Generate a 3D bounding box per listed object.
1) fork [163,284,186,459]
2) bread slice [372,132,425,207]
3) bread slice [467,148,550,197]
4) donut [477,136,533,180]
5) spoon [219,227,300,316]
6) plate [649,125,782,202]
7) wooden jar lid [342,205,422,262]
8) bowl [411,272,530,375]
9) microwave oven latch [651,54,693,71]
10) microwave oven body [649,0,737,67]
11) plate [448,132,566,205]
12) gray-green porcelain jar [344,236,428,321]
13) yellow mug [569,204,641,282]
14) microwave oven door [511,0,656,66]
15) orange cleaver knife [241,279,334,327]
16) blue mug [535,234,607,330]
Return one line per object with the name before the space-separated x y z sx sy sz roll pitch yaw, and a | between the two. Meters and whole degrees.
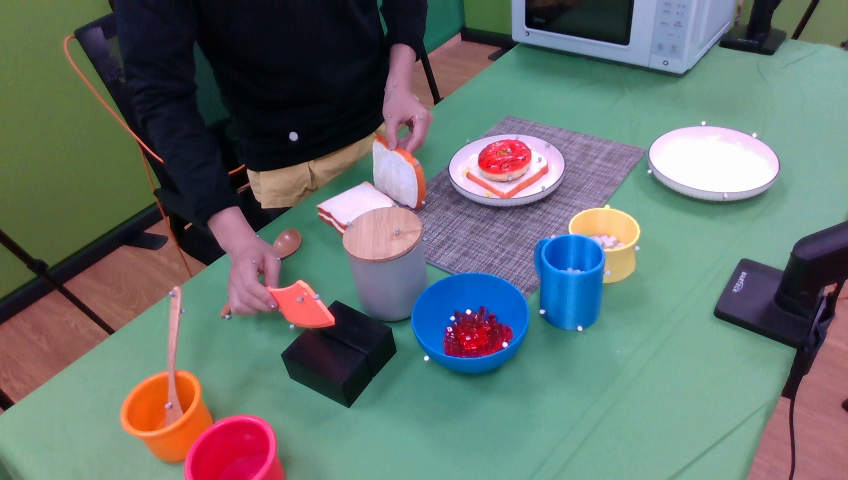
fork | -0.302 0.157 0.733 0.028 0.019 0.207 -3 84 15
bread slice | -0.046 -0.114 1.050 0.018 0.107 0.133 -26 46 -30
bread slice | 0.156 -0.128 1.084 0.132 0.019 0.104 -35 48 -24
donut | 0.140 -0.145 1.058 0.099 0.048 0.098 -6 41 6
spoon | -0.260 0.046 0.953 0.041 0.021 0.194 27 49 10
plate | 0.493 -0.127 1.036 0.207 0.039 0.206 -4 41 4
wooden jar lid | -0.055 -0.005 0.808 0.108 0.021 0.108 -6 40 6
bowl | 0.061 0.120 0.780 0.151 0.077 0.150 -4 40 4
microwave oven latch | 0.531 -0.386 1.301 0.078 0.029 0.030 26 51 33
microwave oven body | 0.475 -0.602 1.411 0.438 0.261 0.327 23 50 32
plate | 0.146 -0.124 1.075 0.209 0.038 0.208 -3 41 3
gray-green porcelain jar | -0.049 0.042 0.849 0.106 0.127 0.105 -4 41 4
yellow mug | 0.268 -0.005 0.904 0.099 0.064 0.130 7 41 15
microwave oven door | 0.351 -0.539 1.348 0.353 0.245 0.039 24 50 31
orange cleaver knife | -0.185 0.084 0.805 0.012 0.077 0.210 -42 23 -32
blue mug | 0.190 0.048 0.824 0.082 0.106 0.115 -26 44 -20
